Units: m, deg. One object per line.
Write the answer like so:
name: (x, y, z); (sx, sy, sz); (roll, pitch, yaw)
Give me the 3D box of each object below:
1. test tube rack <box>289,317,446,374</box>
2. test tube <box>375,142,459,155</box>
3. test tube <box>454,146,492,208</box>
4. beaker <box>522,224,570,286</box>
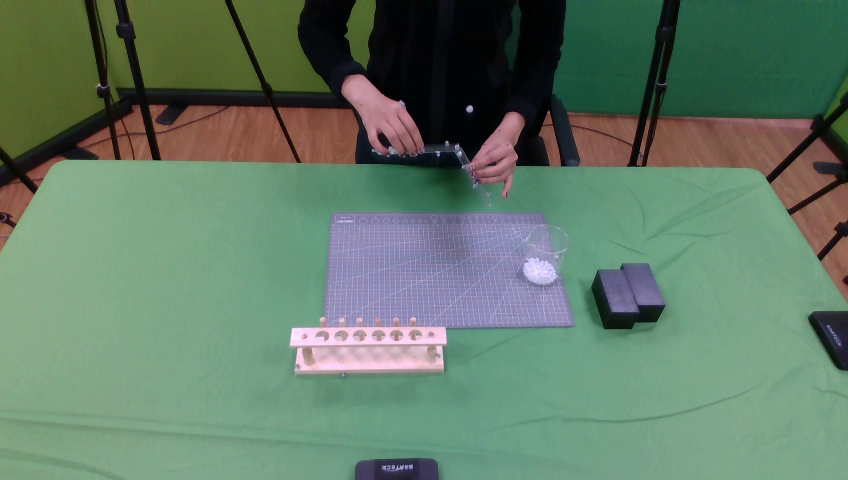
test tube rack: (-0.089, 0.167, 0.988); (0.242, 0.085, 0.066); (0, 46, -4)
test tube: (-0.012, -0.162, 1.075); (0.150, 0.017, 0.017); (-4, 46, -7)
test tube: (0.093, -0.115, 1.129); (0.017, 0.151, 0.017); (-21, 38, 18)
beaker: (0.221, 0.032, 1.129); (0.084, 0.101, 0.073); (-6, 46, -9)
